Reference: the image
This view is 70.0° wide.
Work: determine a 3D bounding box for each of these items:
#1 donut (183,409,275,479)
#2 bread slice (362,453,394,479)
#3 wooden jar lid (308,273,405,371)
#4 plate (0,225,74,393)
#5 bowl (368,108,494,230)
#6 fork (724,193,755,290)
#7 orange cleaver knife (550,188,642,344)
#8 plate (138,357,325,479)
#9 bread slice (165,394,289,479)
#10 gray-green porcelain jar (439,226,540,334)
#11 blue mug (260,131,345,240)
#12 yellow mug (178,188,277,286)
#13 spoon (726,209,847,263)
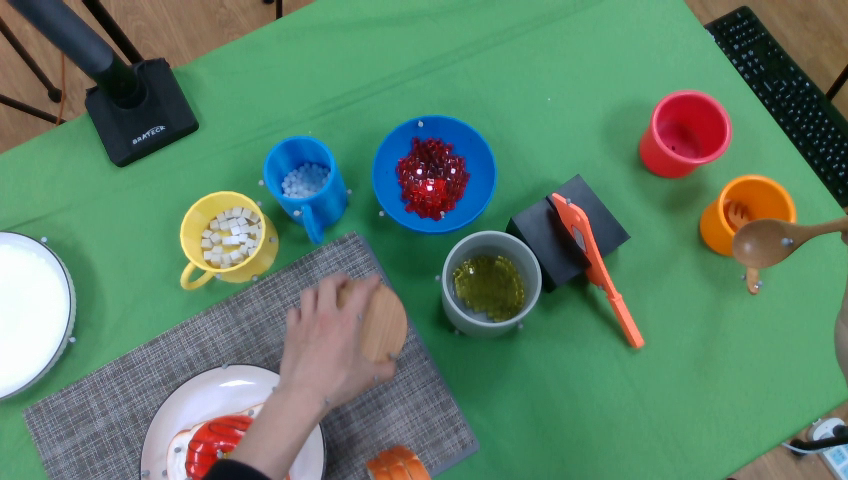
[{"bbox_3d":[-0.212,0.235,0.662,0.099,0.048,0.098,1,77,-3],"label":"donut"},{"bbox_3d":[-0.036,0.275,0.636,0.018,0.135,0.106,-21,75,-15],"label":"bread slice"},{"bbox_3d":[-0.074,0.091,0.673,0.108,0.021,0.108,-1,80,3],"label":"wooden jar lid"},{"bbox_3d":[-0.523,0.085,0.732,0.208,0.039,0.206,0,76,0],"label":"plate"},{"bbox_3d":[0.009,-0.076,0.751,0.151,0.077,0.150,0,76,0],"label":"bowl"},{"bbox_3d":[0.365,-0.003,0.696,0.028,0.019,0.206,32,34,2],"label":"fork"},{"bbox_3d":[0.204,0.032,0.722,0.012,0.076,0.212,-32,108,-7],"label":"orange cleaver knife"},{"bbox_3d":[-0.214,0.240,0.690,0.209,0.038,0.208,0,76,0],"label":"plate"},{"bbox_3d":[-0.226,0.246,0.692,0.132,0.019,0.104,-16,76,-8],"label":"bread slice"},{"bbox_3d":[0.070,0.051,0.695,0.106,0.127,0.105,0,75,0],"label":"gray-green porcelain jar"},{"bbox_3d":[-0.142,-0.057,0.733,0.082,0.106,0.116,-9,76,-2],"label":"blue mug"},{"bbox_3d":[-0.248,0.005,0.738,0.099,0.064,0.130,38,80,9],"label":"yellow mug"},{"bbox_3d":[0.290,-0.013,0.431,0.022,0.194,0.041,-4,82,-12],"label":"spoon"}]
